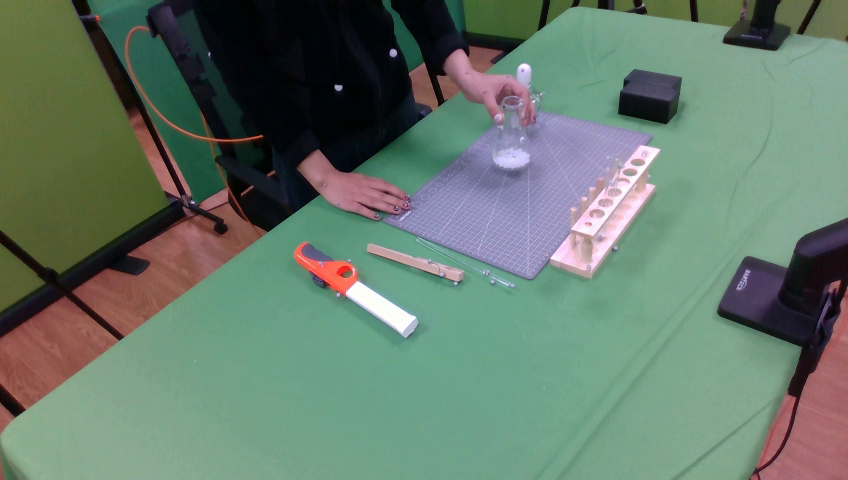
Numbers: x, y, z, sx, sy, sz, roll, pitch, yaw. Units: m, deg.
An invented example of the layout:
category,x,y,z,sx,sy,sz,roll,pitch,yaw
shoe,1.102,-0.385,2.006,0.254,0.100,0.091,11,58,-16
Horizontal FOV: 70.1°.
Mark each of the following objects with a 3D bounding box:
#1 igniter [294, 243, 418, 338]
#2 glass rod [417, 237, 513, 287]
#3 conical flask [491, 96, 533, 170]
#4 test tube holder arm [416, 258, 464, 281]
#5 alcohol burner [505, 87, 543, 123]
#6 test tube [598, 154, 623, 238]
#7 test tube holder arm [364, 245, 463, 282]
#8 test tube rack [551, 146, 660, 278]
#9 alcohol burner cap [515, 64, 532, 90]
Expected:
category,x,y,z,sx,sy,sz,roll,pitch,yaw
igniter,-0.114,0.070,0.919,0.274,0.025,0.057,29,63,37
glass rod,0.059,0.032,0.945,0.198,0.008,0.008,26,52,38
conical flask,0.154,-0.189,1.056,0.075,0.122,0.075,-4,42,4
test tube holder arm,0.022,0.045,0.931,0.087,0.015,0.010,16,10,28
alcohol burner,0.202,-0.298,1.222,0.078,0.119,0.077,-4,40,4
test tube,0.269,-0.059,0.876,0.017,0.151,0.017,-2,43,3
test tube holder arm,-0.020,0.034,0.947,0.177,0.015,0.013,16,10,26
test tube rack,0.286,-0.053,0.943,0.066,0.085,0.243,21,49,32
alcohol burner cap,0.199,-0.324,1.198,0.034,0.048,0.033,0,45,1
